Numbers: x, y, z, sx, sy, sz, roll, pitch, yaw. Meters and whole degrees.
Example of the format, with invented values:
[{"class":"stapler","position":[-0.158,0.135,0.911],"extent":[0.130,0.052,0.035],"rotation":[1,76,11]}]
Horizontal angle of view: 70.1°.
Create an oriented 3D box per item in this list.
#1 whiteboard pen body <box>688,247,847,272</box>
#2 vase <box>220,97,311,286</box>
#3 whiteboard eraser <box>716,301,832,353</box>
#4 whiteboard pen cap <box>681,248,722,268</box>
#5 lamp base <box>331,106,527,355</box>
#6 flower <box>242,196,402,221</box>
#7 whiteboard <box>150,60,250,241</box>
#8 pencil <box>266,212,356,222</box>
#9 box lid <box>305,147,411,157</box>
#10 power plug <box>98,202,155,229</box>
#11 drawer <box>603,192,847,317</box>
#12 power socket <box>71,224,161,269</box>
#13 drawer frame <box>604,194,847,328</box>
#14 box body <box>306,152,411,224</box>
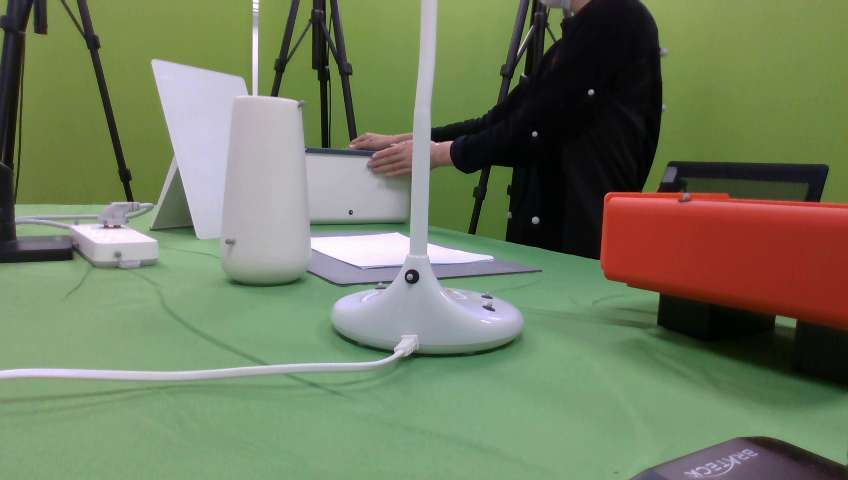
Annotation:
[{"class":"whiteboard pen body","position":[0.304,0.016,0.520],"extent":[0.140,0.017,0.017],"rotation":[3,7,26]},{"class":"vase","position":[-0.172,-0.052,0.662],"extent":[0.098,0.200,0.098],"rotation":[3,8,0]},{"class":"whiteboard eraser","position":[0.256,0.042,0.472],"extent":[0.112,0.042,0.056],"rotation":[43,19,30]},{"class":"whiteboard pen cap","position":[0.250,0.017,0.544],"extent":[0.033,0.018,0.018],"rotation":[2,7,25]},{"class":"lamp base","position":[0.006,-0.012,0.478],"extent":[0.161,0.180,0.179],"rotation":[2,10,2]},{"class":"flower","position":[-0.231,-0.065,1.372],"extent":[0.362,0.038,0.044],"rotation":[6,39,-2]},{"class":"whiteboard","position":[-0.408,-0.139,1.093],"extent":[0.143,0.305,0.218],"rotation":[-15,-1,26]},{"class":"pencil","position":[-0.244,-0.049,1.319],"extent":[0.195,0.012,0.012],"rotation":[4,7,-12]},{"class":"box lid","position":[-0.229,-0.200,1.361],"extent":[0.373,0.015,0.262],"rotation":[-2,9,-33]},{"class":"power plug","position":[-0.416,-0.027,0.848],"extent":[0.073,0.052,0.035],"rotation":[0,8,-28]},{"class":"drawer","position":[0.293,0.002,0.500],"extent":[0.195,0.073,0.210],"rotation":[-1,8,-34]},{"class":"power socket","position":[-0.408,0.004,0.793],"extent":[0.072,0.032,0.225],"rotation":[-2,8,-38]},{"class":"drawer frame","position":[0.298,0.007,0.497],"extent":[0.203,0.082,0.212],"rotation":[-1,7,-34]},{"class":"box body","position":[-0.230,-0.126,1.371],"extent":[0.366,0.160,0.253],"rotation":[-2,8,-33]}]
